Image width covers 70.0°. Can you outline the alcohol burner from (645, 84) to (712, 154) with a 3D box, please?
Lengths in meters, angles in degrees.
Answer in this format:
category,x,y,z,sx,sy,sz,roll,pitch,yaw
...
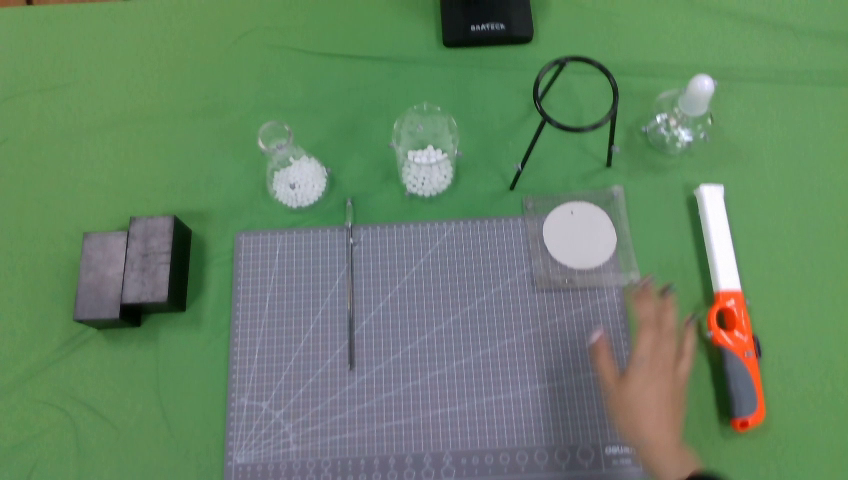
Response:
category,x,y,z,sx,sy,sz,roll,pitch,yaw
alcohol burner,0.305,-0.150,0.712,0.078,0.120,0.077,0,73,2

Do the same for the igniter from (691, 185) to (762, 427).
category,x,y,z,sx,sy,sz,roll,pitch,yaw
igniter,0.341,0.068,0.686,0.057,0.025,0.274,2,72,-9

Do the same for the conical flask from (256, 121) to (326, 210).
category,x,y,z,sx,sy,sz,roll,pitch,yaw
conical flask,-0.157,-0.089,0.689,0.075,0.122,0.075,0,71,1

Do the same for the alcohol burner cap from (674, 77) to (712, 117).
category,x,y,z,sx,sy,sz,roll,pitch,yaw
alcohol burner cap,0.304,-0.163,0.678,0.034,0.048,0.033,-2,69,5

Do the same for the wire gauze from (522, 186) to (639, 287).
category,x,y,z,sx,sy,sz,roll,pitch,yaw
wire gauze,0.184,-0.004,0.718,0.125,0.011,0.120,-4,72,-1

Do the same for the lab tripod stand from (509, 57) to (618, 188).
category,x,y,z,sx,sy,sz,roll,pitch,yaw
lab tripod stand,0.158,-0.130,0.696,0.148,0.132,0.147,0,74,0

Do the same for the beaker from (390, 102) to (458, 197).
category,x,y,z,sx,sy,sz,roll,pitch,yaw
beaker,0.001,-0.101,0.705,0.074,0.101,0.083,-1,71,0

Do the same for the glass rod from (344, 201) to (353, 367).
category,x,y,z,sx,sy,sz,roll,pitch,yaw
glass rod,-0.087,0.047,0.701,0.008,0.008,0.198,-3,72,-1
